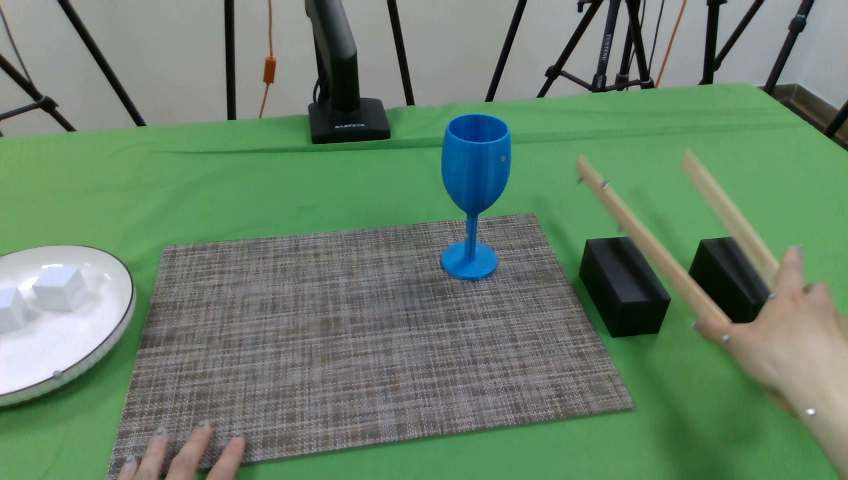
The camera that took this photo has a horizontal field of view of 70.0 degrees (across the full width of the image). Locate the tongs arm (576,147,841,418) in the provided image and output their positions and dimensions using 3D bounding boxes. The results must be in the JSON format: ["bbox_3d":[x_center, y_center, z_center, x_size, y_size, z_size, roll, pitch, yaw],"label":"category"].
[{"bbox_3d":[0.249,0.012,0.598,0.051,0.027,0.380,-5,40,-11],"label":"tongs arm"}]

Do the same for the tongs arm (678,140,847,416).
[{"bbox_3d":[0.322,0.006,0.608,0.028,0.028,0.383,5,39,-5],"label":"tongs arm"}]

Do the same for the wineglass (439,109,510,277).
[{"bbox_3d":[0.050,-0.046,0.643,0.074,0.174,0.073,1,40,0],"label":"wineglass"}]

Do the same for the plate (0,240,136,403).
[{"bbox_3d":[-0.389,0.078,0.591,0.209,0.038,0.207,1,39,0],"label":"plate"}]
